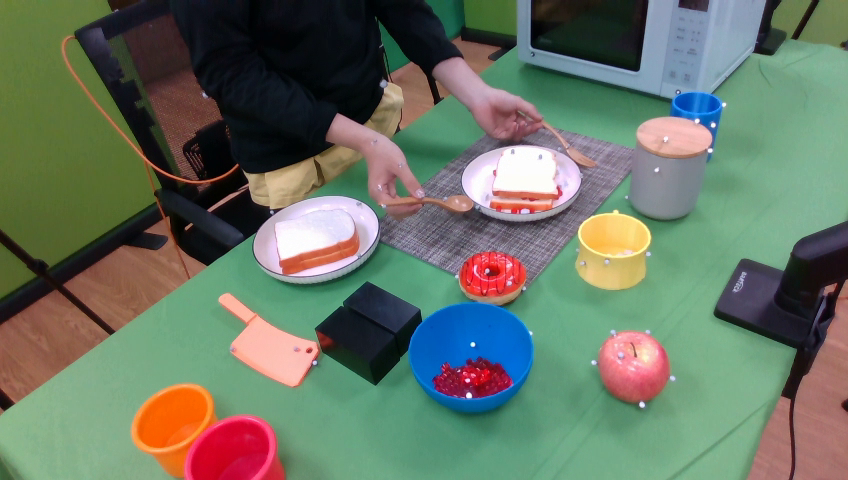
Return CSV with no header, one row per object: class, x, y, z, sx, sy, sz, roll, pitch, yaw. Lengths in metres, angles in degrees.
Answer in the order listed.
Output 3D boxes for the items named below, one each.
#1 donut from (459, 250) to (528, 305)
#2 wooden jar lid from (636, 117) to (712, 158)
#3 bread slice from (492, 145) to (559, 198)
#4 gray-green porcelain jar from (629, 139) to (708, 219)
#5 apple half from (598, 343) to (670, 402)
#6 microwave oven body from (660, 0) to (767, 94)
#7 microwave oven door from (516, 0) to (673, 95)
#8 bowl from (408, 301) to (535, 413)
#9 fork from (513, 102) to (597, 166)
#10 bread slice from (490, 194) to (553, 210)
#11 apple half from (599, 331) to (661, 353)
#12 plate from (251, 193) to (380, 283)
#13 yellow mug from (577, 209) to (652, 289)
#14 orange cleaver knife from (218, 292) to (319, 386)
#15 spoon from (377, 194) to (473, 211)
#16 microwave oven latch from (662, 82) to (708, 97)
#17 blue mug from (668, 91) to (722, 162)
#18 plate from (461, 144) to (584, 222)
donut,0.100,0.053,0.872,0.099,0.048,0.098,-5,41,4
wooden jar lid,0.377,-0.151,0.917,0.108,0.021,0.108,-2,42,2
bread slice,0.172,-0.118,1.027,0.107,0.018,0.134,3,42,7
gray-green porcelain jar,0.383,-0.104,0.958,0.106,0.127,0.105,-4,41,4
apple half,0.247,0.161,0.710,0.081,0.075,0.053,2,47,5
microwave oven body,0.473,-0.516,1.313,0.438,0.261,0.327,26,51,34
microwave oven door,0.344,-0.458,1.256,0.353,0.245,0.039,26,51,33
bowl,0.060,0.156,0.739,0.151,0.077,0.150,-4,40,4
fork,0.240,-0.200,1.131,0.028,0.018,0.206,-27,64,-35
bread slice,0.173,-0.099,1.047,0.104,0.019,0.131,2,43,12
apple half,0.249,0.134,0.738,0.081,0.081,0.032,-1,46,7
plate,-0.174,-0.001,0.984,0.209,0.038,0.208,-4,41,4
yellow mug,0.280,0.005,0.893,0.099,0.064,0.130,5,41,15
orange cleaver knife,-0.235,0.136,0.850,0.209,0.012,0.077,25,56,30
spoon,0.004,-0.060,0.919,0.195,0.021,0.041,0,38,-46
microwave oven latch,0.518,-0.298,1.202,0.078,0.029,0.030,28,53,35
blue mug,0.474,-0.207,1.078,0.082,0.106,0.116,4,42,13
plate,0.168,-0.095,1.040,0.207,0.039,0.206,-4,40,4
